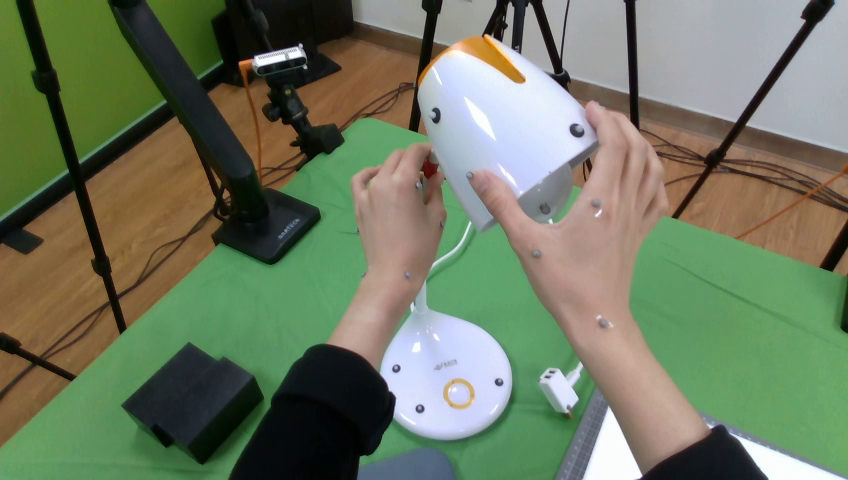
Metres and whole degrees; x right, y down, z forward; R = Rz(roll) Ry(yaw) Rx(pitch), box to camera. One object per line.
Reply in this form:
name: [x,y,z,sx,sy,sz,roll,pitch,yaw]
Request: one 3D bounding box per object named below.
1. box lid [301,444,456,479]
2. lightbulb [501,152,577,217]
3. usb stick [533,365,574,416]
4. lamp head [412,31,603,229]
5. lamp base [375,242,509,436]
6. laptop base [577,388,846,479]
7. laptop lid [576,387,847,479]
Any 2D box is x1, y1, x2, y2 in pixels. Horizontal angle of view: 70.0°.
box lid: [-0.053,0.380,0.543,0.264,0.015,0.367,-14,50,-10]
lightbulb: [0.071,-0.070,0.422,0.059,0.059,0.107,-12,88,-8]
usb stick: [0.152,0.175,0.696,0.027,0.059,0.021,-37,12,-31]
lamp head: [0.046,-0.083,0.435,0.112,0.113,0.122,-34,79,-25]
lamp base: [0.012,0.100,0.680,0.161,0.182,0.177,-25,49,-20]
laptop base: [0.319,0.308,0.588,0.352,0.023,0.234,20,55,19]
laptop lid: [0.317,0.302,0.578,0.354,0.013,0.240,21,54,20]
